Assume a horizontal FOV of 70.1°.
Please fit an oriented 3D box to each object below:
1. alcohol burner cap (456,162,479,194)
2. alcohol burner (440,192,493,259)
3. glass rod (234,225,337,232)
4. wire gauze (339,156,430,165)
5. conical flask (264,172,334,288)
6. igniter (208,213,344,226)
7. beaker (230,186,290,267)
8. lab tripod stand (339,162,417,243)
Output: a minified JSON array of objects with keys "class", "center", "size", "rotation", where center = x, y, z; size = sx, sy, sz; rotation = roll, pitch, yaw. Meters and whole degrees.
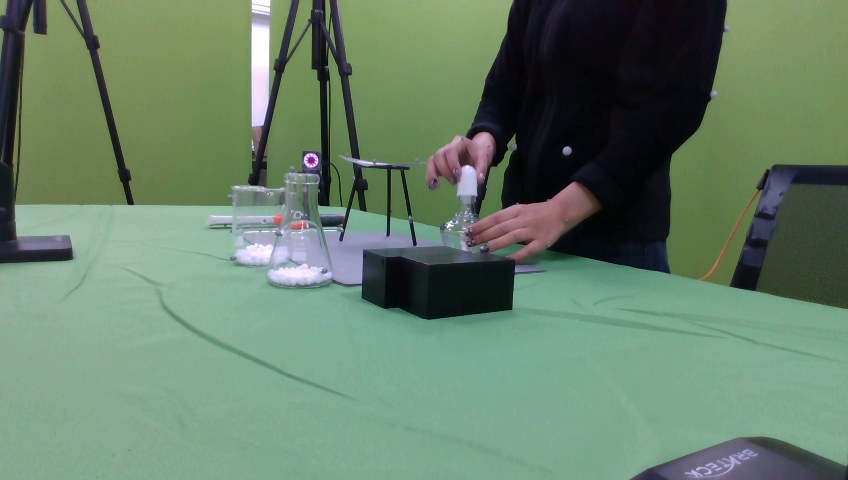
[{"class":"alcohol burner cap","center":[0.063,-0.091,0.884],"size":[0.034,0.048,0.034],"rotation":[0,-2,0]},{"class":"alcohol burner","center":[0.063,-0.032,0.886],"size":[0.078,0.119,0.078],"rotation":[3,6,0]},{"class":"glass rod","center":[-0.256,-0.022,1.136],"size":[0.201,0.008,0.008],"rotation":[-3,9,-33]},{"class":"wire gauze","center":[-0.067,-0.133,1.022],"size":[0.122,0.011,0.124],"rotation":[-1,9,-31]},{"class":"conical flask","center":[-0.136,-0.013,0.660],"size":[0.075,0.122,0.075],"rotation":[2,7,0]},{"class":"igniter","center":[-0.283,-0.041,1.200],"size":[0.278,0.025,0.057],"rotation":[-2,-2,-34]},{"class":"beaker","center":[-0.209,-0.019,0.778],"size":[0.074,0.100,0.084],"rotation":[3,6,4]},{"class":"lab tripod stand","center":[-0.067,-0.065,1.027],"size":[0.148,0.131,0.148],"rotation":[4,7,0]}]
